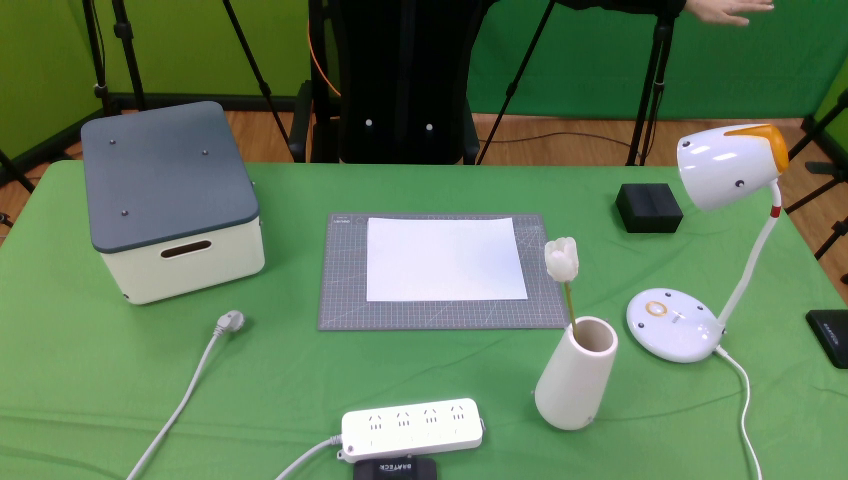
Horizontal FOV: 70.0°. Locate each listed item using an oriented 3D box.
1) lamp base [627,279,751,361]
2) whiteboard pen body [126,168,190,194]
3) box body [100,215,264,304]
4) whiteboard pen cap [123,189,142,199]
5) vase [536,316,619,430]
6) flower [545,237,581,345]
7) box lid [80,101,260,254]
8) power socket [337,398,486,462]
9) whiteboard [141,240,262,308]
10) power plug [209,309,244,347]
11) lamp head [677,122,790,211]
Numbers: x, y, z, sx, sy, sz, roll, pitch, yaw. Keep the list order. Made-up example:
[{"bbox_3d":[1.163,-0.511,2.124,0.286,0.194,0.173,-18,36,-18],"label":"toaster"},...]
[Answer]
[{"bbox_3d":[0.460,0.100,1.027,0.178,0.181,0.160,27,51,17],"label":"lamp base"},{"bbox_3d":[-0.548,-0.121,1.251,0.017,0.017,0.141,34,43,25],"label":"whiteboard pen body"},{"bbox_3d":[-0.465,-0.077,1.137,0.254,0.161,0.361,-16,50,-19],"label":"box body"},{"bbox_3d":[-0.591,-0.093,1.231,0.033,0.018,0.018,-13,49,-18],"label":"whiteboard pen cap"},{"bbox_3d":[0.229,0.200,0.901,0.098,0.201,0.097,3,46,-3],"label":"vase"},{"bbox_3d":[0.213,0.137,0.846,0.038,0.364,0.044,21,55,40],"label":"flower"},{"bbox_3d":[-0.461,-0.127,1.082,0.264,0.015,0.369,-15,49,-19],"label":"box lid"},{"bbox_3d":[-0.017,0.286,0.914,0.227,0.033,0.071,-4,46,-8],"label":"power socket"},{"bbox_3d":[-0.464,-0.059,1.137,0.217,0.144,0.303,-19,51,-17],"label":"whiteboard"},{"bbox_3d":[-0.334,0.148,1.019,0.035,0.053,0.072,36,75,23],"label":"power plug"},{"bbox_3d":[0.423,-0.104,0.819,0.122,0.113,0.112,-13,33,40],"label":"lamp head"}]
